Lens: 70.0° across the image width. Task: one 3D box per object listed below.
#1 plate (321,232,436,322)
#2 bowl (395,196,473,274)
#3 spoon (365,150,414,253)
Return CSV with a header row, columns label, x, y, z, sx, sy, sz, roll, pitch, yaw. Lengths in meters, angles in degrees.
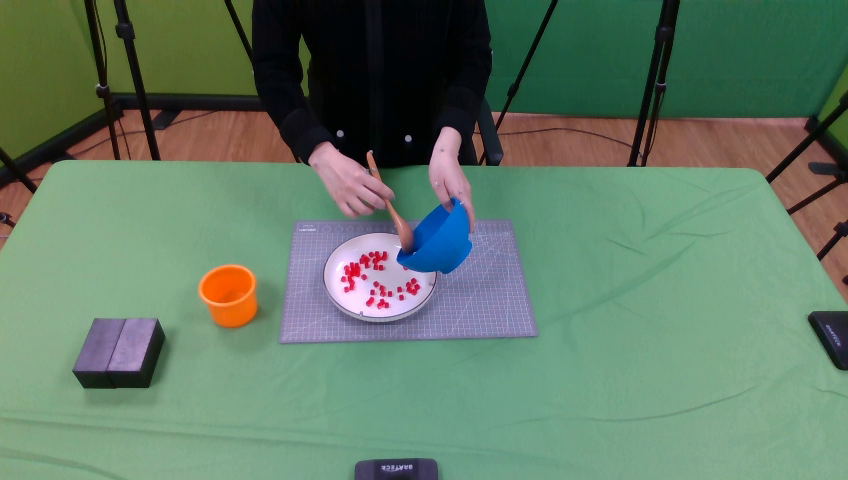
label,x,y,z,sx,sy,sz,roll,pitch,yaw
plate,-0.083,0.070,1.109,0.209,0.038,0.208,3,46,-2
bowl,0.029,0.006,1.035,0.077,0.151,0.151,42,48,-13
spoon,-0.060,-0.064,1.035,0.021,0.194,0.041,-9,26,41
